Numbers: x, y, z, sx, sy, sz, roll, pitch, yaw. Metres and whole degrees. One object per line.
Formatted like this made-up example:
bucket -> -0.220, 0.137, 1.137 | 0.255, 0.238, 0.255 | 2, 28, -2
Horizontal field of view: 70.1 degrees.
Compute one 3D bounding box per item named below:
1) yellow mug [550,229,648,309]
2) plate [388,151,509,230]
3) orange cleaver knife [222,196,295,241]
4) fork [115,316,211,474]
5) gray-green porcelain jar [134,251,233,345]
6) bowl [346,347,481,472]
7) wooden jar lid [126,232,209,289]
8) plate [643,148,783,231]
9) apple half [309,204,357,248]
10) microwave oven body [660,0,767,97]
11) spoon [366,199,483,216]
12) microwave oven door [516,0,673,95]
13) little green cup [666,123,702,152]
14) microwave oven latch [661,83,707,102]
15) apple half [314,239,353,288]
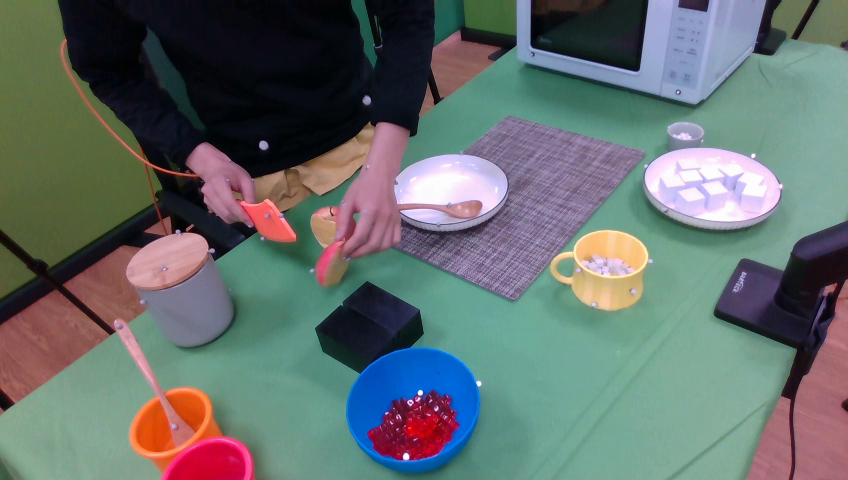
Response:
yellow mug -> 0.245, 0.040, 0.857 | 0.130, 0.064, 0.099 | 1, 42, 11
plate -> 0.043, -0.082, 1.042 | 0.209, 0.038, 0.208 | -4, 40, 4
orange cleaver knife -> -0.249, -0.034, 0.901 | 0.012, 0.077, 0.209 | -38, 28, -27
fork -> -0.308, 0.179, 0.708 | 0.028, 0.018, 0.207 | -30, 89, -21
gray-green porcelain jar -> -0.334, 0.076, 0.849 | 0.106, 0.127, 0.105 | -4, 41, 4
bowl -> -0.008, 0.205, 0.691 | 0.151, 0.077, 0.150 | -4, 40, 4
wooden jar lid -> -0.340, 0.030, 0.808 | 0.108, 0.021, 0.108 | -5, 39, 5
plate -> 0.464, -0.079, 0.986 | 0.207, 0.039, 0.206 | -4, 40, 4
apple half -> -0.139, -0.023, 0.979 | 0.080, 0.075, 0.053 | 19, 44, 32
microwave oven body -> 0.473, -0.517, 1.314 | 0.438, 0.261, 0.327 | 26, 51, 34
spoon -> 0.001, -0.056, 0.997 | 0.194, 0.022, 0.041 | 1, 46, -9
microwave oven door -> 0.344, -0.458, 1.256 | 0.353, 0.245, 0.039 | 26, 51, 33
little green cup -> 0.472, -0.183, 1.103 | 0.061, 0.039, 0.061 | -5, 41, 5
microwave oven latch -> 0.516, -0.298, 1.202 | 0.078, 0.029, 0.030 | 25, 51, 33
apple half -> -0.136, 0.028, 0.872 | 0.032, 0.081, 0.081 | 27, 49, 12
